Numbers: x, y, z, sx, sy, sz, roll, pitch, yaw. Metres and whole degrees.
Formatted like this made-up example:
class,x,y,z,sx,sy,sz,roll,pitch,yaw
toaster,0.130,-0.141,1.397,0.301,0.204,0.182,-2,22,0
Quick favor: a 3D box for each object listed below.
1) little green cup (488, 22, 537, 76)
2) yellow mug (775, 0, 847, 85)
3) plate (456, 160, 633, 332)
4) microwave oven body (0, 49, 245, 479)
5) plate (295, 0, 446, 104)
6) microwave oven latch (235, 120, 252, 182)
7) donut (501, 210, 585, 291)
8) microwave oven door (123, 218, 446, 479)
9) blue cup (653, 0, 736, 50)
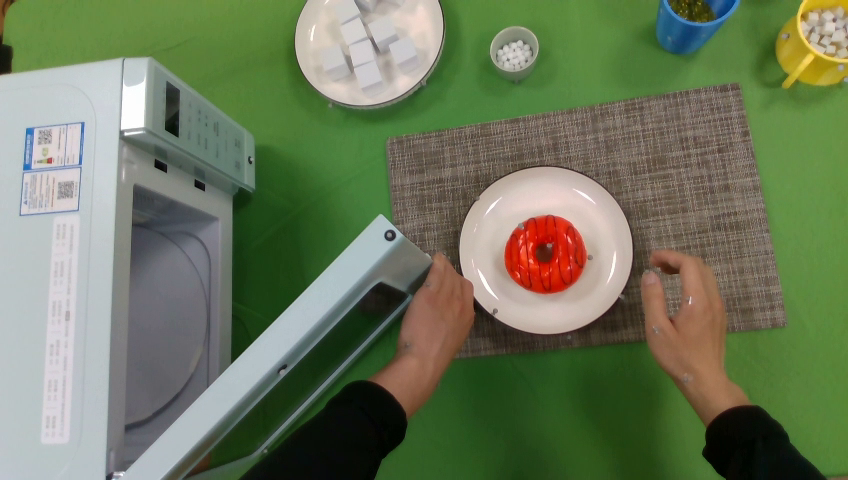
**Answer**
class,x,y,z,sx,sy,sz,roll,pitch,yaw
little green cup,0.116,-0.245,0.786,0.061,0.039,0.061,-2,81,10
yellow mug,0.465,-0.235,0.708,0.099,0.064,0.131,42,91,14
plate,0.144,0.008,0.738,0.209,0.038,0.208,-2,81,10
microwave oven body,-0.401,0.052,0.712,0.325,0.261,0.440,-4,81,9
plate,-0.071,-0.280,0.824,0.207,0.039,0.207,-2,81,10
microwave oven latch,-0.247,-0.118,0.810,0.030,0.029,0.079,-2,82,9
donut,0.142,0.012,0.725,0.099,0.048,0.099,-1,83,10
microwave oven door,-0.130,0.129,0.647,0.356,0.245,0.039,-45,75,1
blue cup,0.316,-0.276,0.723,0.092,0.100,0.092,-1,82,9
